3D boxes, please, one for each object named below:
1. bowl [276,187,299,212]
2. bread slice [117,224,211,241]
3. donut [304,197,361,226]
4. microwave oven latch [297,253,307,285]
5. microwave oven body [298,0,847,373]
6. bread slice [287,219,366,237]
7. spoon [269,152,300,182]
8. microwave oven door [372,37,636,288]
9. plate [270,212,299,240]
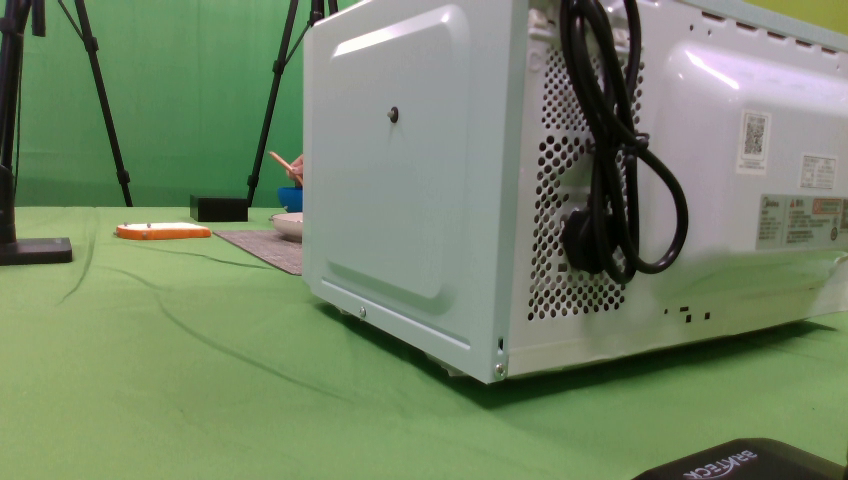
[{"bbox_3d":[-0.241,-0.073,1.302,0.151,0.077,0.151,2,7,0],"label":"bowl"},{"bbox_3d":[-0.443,-0.015,1.022,0.132,0.019,0.104,-3,8,-45],"label":"bread slice"},{"bbox_3d":[-0.160,-0.050,1.055,0.099,0.048,0.099,3,8,0],"label":"donut"},{"bbox_3d":[-0.081,0.027,0.582,0.079,0.029,0.030,-1,7,-32],"label":"microwave oven latch"},{"bbox_3d":[0.151,-0.055,0.542,0.444,0.260,0.324,-2,7,-33],"label":"microwave oven body"},{"bbox_3d":[-0.170,-0.022,1.056,0.134,0.018,0.107,2,7,-6],"label":"bread slice"},{"bbox_3d":[-0.272,-0.132,1.307,0.193,0.021,0.042,47,31,16],"label":"spoon"},{"bbox_3d":[0.109,-0.080,0.686,0.358,0.243,0.039,-2,9,-33],"label":"microwave oven door"},{"bbox_3d":[-0.162,-0.022,1.058,0.208,0.039,0.207,2,7,0],"label":"plate"}]
